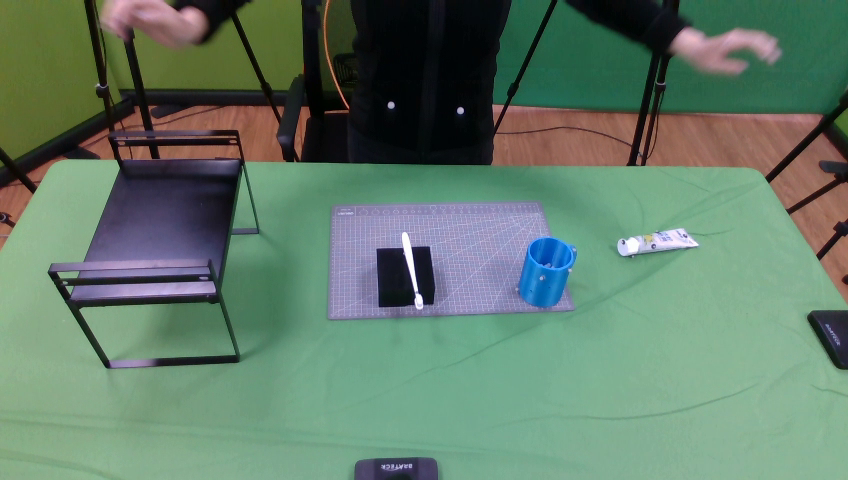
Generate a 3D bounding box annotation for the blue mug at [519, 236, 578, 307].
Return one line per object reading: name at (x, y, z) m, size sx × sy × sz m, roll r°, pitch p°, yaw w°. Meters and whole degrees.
blue mug at (0.234, 0.052, 1.102) m, size 0.116 × 0.106 × 0.082 m, roll -23°, pitch 52°, yaw -24°

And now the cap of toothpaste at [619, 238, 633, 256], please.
cap of toothpaste at (0.400, 0.013, 1.200) m, size 0.011 × 0.037 × 0.037 m, roll -10°, pitch 48°, yaw -18°

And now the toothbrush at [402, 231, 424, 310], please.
toothbrush at (-0.022, 0.049, 1.080) m, size 0.014 × 0.017 × 0.180 m, roll -9°, pitch 47°, yaw -5°

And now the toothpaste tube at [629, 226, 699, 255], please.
toothpaste tube at (0.475, 0.003, 1.223) m, size 0.165 × 0.035 × 0.054 m, roll -10°, pitch 52°, yaw -18°
